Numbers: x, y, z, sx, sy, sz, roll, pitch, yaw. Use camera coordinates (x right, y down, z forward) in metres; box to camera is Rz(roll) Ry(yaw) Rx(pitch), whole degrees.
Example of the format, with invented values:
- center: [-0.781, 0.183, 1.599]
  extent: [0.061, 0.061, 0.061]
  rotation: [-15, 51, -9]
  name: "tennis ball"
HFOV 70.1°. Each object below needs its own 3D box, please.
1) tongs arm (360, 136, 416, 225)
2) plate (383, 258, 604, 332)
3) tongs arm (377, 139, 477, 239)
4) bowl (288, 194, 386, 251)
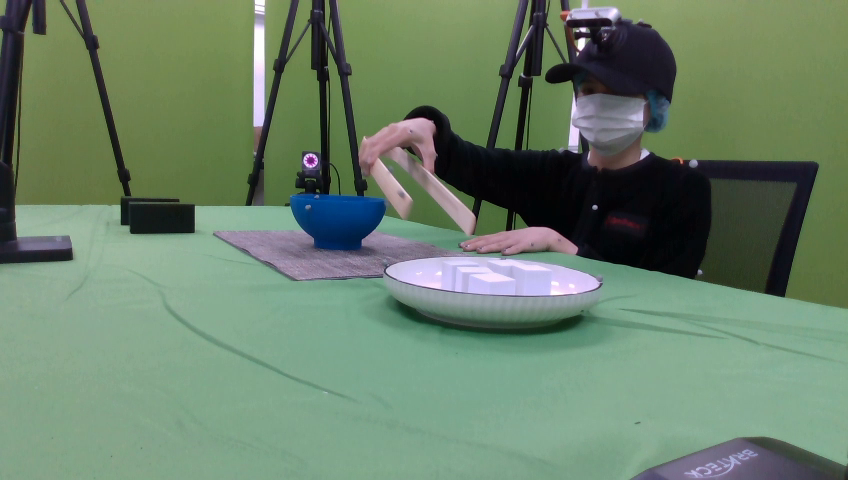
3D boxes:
- center: [-0.045, -0.090, 0.810]
  extent: [0.051, 0.026, 0.383]
  rotation: [11, 17, -20]
  name: "tongs arm"
- center: [0.064, 0.051, 0.582]
  extent: [0.209, 0.038, 0.209]
  rotation: [3, 7, 0]
  name: "plate"
- center: [-0.005, -0.081, 0.825]
  extent: [0.028, 0.028, 0.386]
  rotation: [7, 19, -21]
  name: "tongs arm"
- center: [-0.135, -0.027, 0.936]
  extent: [0.151, 0.077, 0.151]
  rotation: [3, 7, 0]
  name: "bowl"
